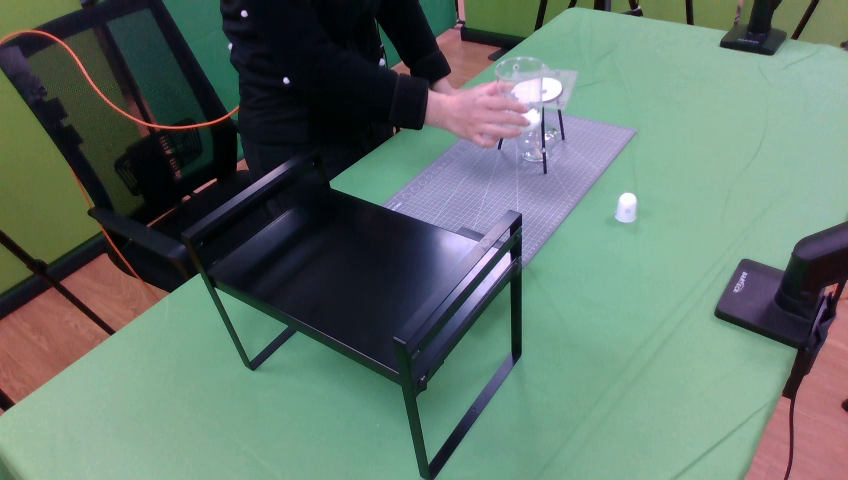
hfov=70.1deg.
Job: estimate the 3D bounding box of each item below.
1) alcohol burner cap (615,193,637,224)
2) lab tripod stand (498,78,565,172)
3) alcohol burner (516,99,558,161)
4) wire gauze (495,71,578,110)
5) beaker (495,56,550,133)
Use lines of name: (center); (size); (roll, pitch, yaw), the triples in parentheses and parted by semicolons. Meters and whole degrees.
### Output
alcohol burner cap: (0.327, -0.053, 0.974); (0.034, 0.048, 0.033); (-4, 38, 4)
lab tripod stand: (0.204, -0.216, 1.107); (0.148, 0.132, 0.147); (-5, 41, 5)
alcohol burner: (0.208, -0.206, 1.110); (0.078, 0.119, 0.077); (-3, 41, 3)
wire gauze: (0.199, -0.268, 1.065); (0.124, 0.011, 0.121); (10, 44, 22)
beaker: (0.156, -0.228, 0.955); (0.084, 0.101, 0.073); (-2, 42, 7)
